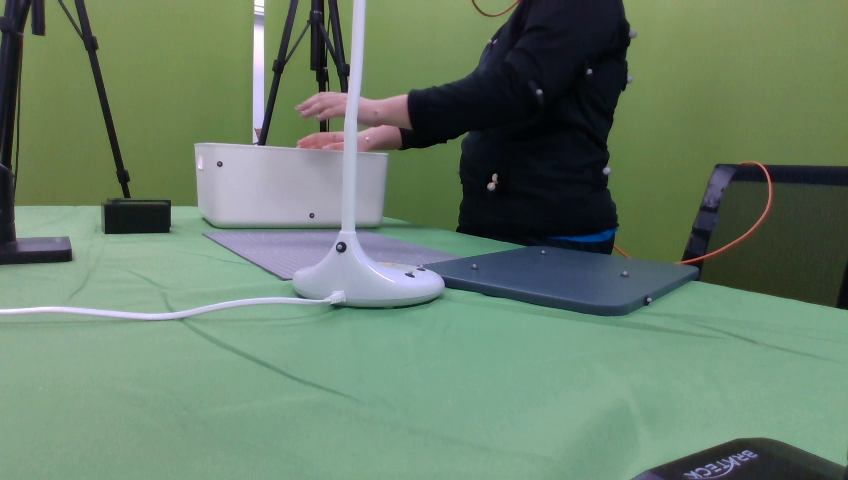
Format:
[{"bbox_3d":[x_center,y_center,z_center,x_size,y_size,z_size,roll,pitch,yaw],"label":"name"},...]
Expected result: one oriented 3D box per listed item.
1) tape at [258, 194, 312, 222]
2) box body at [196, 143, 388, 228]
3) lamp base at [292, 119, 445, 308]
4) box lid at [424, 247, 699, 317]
[{"bbox_3d":[-0.299,-0.070,1.297,0.117,0.052,0.117,3,7,0],"label":"tape"},{"bbox_3d":[-0.286,-0.118,1.291,0.366,0.160,0.253,-1,8,-27],"label":"box body"},{"bbox_3d":[-0.056,-0.030,0.616,0.160,0.180,0.179,4,10,8],"label":"lamp base"},{"bbox_3d":[0.184,0.044,0.789,0.262,0.015,0.373,8,9,35],"label":"box lid"}]
